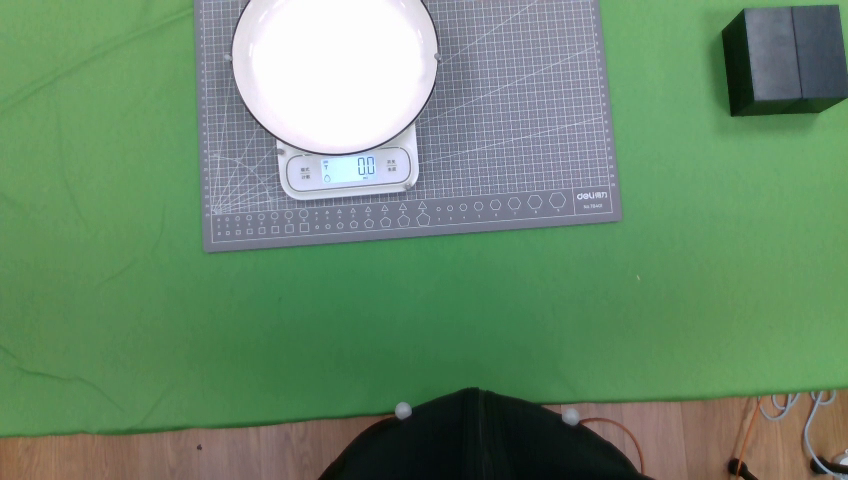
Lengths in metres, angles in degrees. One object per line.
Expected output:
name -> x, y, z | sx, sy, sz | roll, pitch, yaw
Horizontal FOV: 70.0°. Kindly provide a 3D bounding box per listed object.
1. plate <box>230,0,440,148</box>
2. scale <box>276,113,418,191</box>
plate -> -0.088, -0.192, 0.619 | 0.209, 0.038, 0.208 | 0, 84, -1
scale -> -0.086, -0.157, 0.649 | 0.149, 0.031, 0.200 | -5, 85, 0
